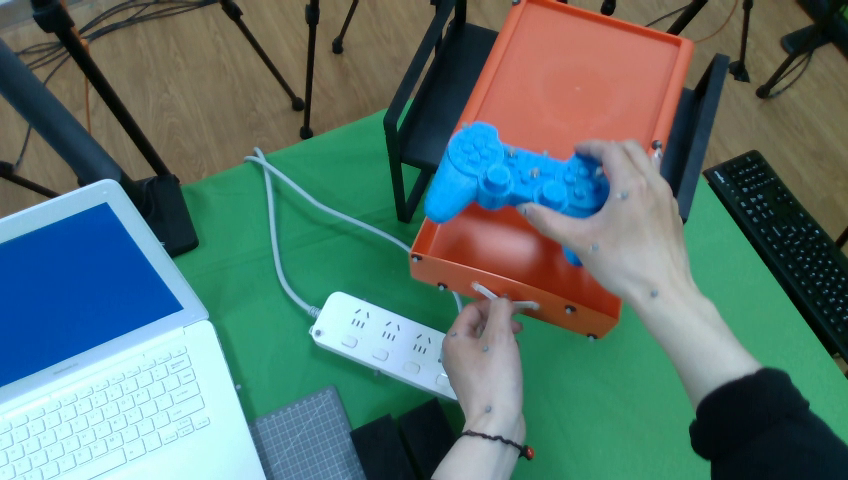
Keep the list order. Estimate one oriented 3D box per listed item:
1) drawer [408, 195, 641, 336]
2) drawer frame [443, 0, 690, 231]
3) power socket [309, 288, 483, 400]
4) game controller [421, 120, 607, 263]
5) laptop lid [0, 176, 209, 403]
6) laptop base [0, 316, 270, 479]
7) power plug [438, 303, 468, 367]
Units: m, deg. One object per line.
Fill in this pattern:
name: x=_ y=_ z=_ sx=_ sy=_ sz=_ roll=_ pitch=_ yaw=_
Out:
drawer: x=0.110 y=-0.035 z=0.599 sx=0.194 sy=0.074 sz=0.210 roll=18 pitch=67 yaw=8
drawer frame: x=0.149 y=-0.137 z=0.640 sx=0.201 sy=0.083 sz=0.212 roll=19 pitch=68 yaw=9
power socket: x=-0.035 y=0.128 z=0.754 sx=0.226 sy=0.033 sz=0.072 roll=21 pitch=69 yaw=10
game controller: x=0.083 y=-0.047 z=0.523 sx=0.155 sy=0.052 sz=0.096 roll=18 pitch=62 yaw=0
laptop lid: x=-0.454 y=0.082 z=0.670 sx=0.357 sy=0.244 sz=0.013 roll=-25 pitch=45 yaw=-8
laptop base: x=-0.381 y=0.261 z=0.710 sx=0.354 sy=0.023 sz=0.234 roll=-24 pitch=72 yaw=-9
power plug: x=0.044 y=0.120 z=0.731 sx=0.035 sy=0.053 sz=0.072 roll=31 pitch=69 yaw=12
